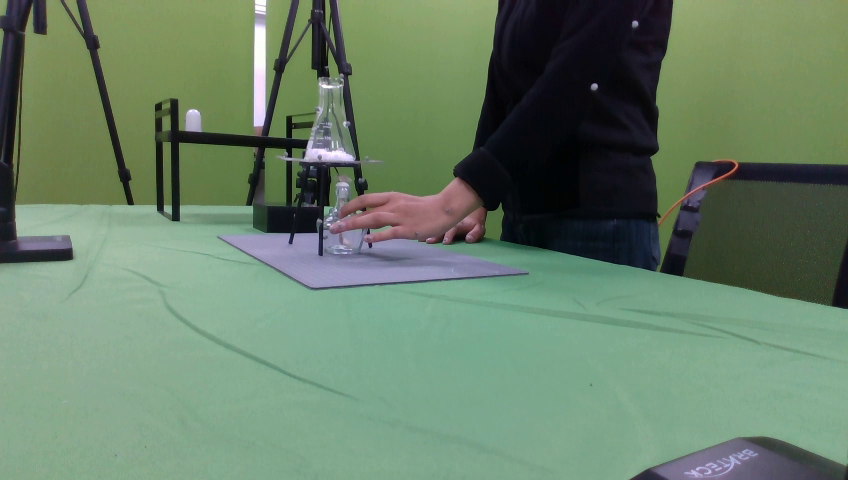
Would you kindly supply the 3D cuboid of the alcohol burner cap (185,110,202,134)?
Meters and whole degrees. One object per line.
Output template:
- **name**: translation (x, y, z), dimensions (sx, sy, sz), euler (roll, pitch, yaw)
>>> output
- **alcohol burner cap**: translation (-0.470, -0.242, 1.234), dimensions (0.034, 0.048, 0.034), euler (4, 7, 0)

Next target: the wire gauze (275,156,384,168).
- **wire gauze**: translation (-0.142, -0.116, 0.900), dimensions (0.122, 0.011, 0.124), euler (-1, 5, -37)

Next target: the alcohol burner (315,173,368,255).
- **alcohol burner**: translation (-0.121, -0.039, 0.889), dimensions (0.078, 0.119, 0.078), euler (1, 6, 0)

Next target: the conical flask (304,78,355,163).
- **conical flask**: translation (-0.139, -0.175, 0.893), dimensions (0.075, 0.122, 0.075), euler (2, 8, 0)

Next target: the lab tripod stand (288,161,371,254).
- **lab tripod stand**: translation (-0.148, -0.052, 0.908), dimensions (0.148, 0.131, 0.148), euler (1, 8, 0)
